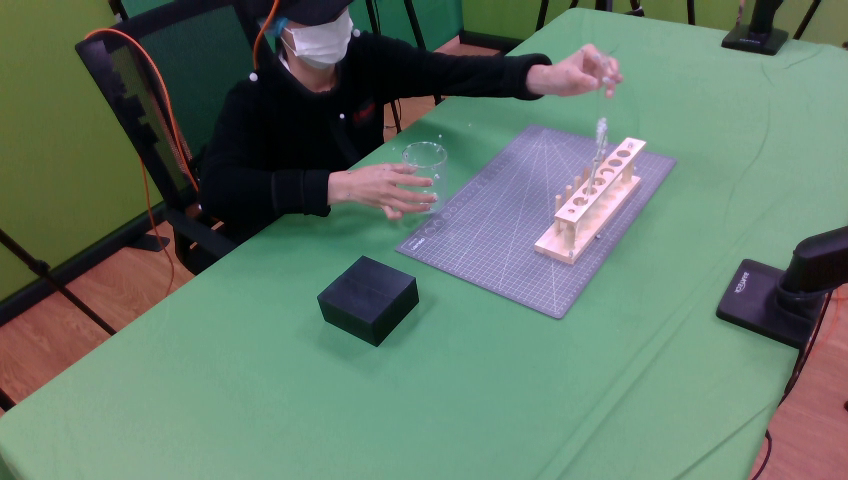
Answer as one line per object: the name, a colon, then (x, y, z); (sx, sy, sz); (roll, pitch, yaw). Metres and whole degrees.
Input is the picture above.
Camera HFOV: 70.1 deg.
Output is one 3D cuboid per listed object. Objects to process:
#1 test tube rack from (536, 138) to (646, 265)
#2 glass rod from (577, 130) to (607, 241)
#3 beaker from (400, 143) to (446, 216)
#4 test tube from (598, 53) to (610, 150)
test tube rack: (0.268, -0.071, 0.964); (0.066, 0.085, 0.243); (23, 48, 32)
glass rod: (0.240, -0.071, 0.866); (0.008, 0.200, 0.008); (0, 44, 1)
beaker: (0.002, -0.098, 0.988); (0.073, 0.100, 0.084); (27, 48, 28)
test tube: (0.267, -0.203, 0.897); (0.017, 0.151, 0.017); (-7, 35, 6)
